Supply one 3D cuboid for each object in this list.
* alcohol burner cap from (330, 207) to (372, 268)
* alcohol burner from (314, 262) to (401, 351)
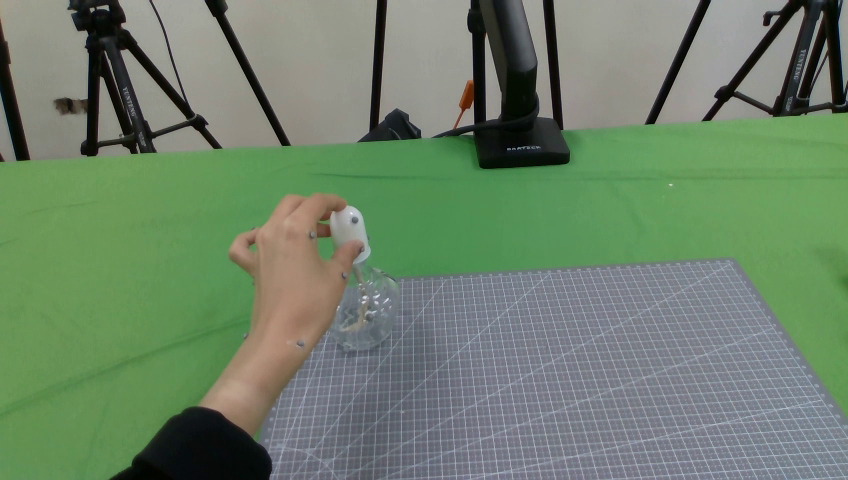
[{"bbox_3d":[-0.061,-0.005,0.494,0.034,0.048,0.033,-2,36,2],"label":"alcohol burner cap"},{"bbox_3d":[-0.059,0.039,0.528,0.078,0.120,0.077,-1,38,1],"label":"alcohol burner"}]
